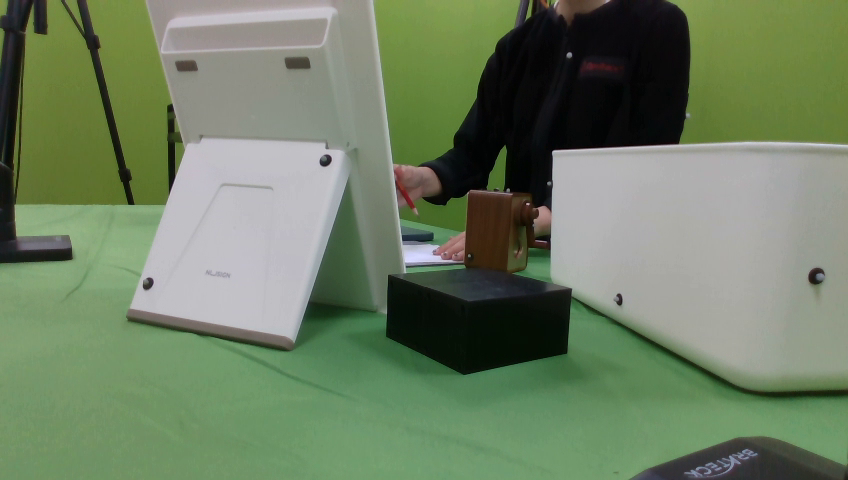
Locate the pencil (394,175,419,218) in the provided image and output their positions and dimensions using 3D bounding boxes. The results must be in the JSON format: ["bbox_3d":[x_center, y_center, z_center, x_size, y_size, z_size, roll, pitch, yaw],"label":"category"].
[{"bbox_3d":[-0.060,-0.115,0.928,0.012,0.194,0.012,-32,-2,-1],"label":"pencil"}]

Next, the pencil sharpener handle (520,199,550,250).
[{"bbox_3d":[0.147,-0.019,0.785,0.030,0.068,0.036,8,26,36],"label":"pencil sharpener handle"}]

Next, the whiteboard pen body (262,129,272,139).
[{"bbox_3d":[-0.361,-0.245,1.393,0.017,0.017,0.140,0,5,-20],"label":"whiteboard pen body"}]

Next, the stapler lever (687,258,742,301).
[{"bbox_3d":[0.283,0.035,0.585,0.026,0.040,0.119,11,8,37],"label":"stapler lever"}]

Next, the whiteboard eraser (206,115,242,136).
[{"bbox_3d":[-0.438,-0.249,1.320,0.056,0.042,0.112,-3,9,-30],"label":"whiteboard eraser"}]

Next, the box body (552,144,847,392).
[{"bbox_3d":[0.290,0.002,0.549,0.255,0.160,0.363,2,7,-10],"label":"box body"}]

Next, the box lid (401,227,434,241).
[{"bbox_3d":[-0.196,-0.015,1.105,0.373,0.015,0.262,-1,7,-32],"label":"box lid"}]

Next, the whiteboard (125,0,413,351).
[{"bbox_3d":[-0.151,-0.050,0.471,0.216,0.305,0.144,6,27,24],"label":"whiteboard"}]

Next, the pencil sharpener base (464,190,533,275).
[{"bbox_3d":[0.102,-0.012,0.813,0.076,0.107,0.061,8,9,36],"label":"pencil sharpener base"}]

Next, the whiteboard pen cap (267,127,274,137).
[{"bbox_3d":[-0.340,-0.239,1.337,0.018,0.018,0.033,1,-1,-14],"label":"whiteboard pen cap"}]

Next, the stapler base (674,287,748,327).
[{"bbox_3d":[0.281,0.061,0.586,0.041,0.024,0.131,10,8,37],"label":"stapler base"}]
